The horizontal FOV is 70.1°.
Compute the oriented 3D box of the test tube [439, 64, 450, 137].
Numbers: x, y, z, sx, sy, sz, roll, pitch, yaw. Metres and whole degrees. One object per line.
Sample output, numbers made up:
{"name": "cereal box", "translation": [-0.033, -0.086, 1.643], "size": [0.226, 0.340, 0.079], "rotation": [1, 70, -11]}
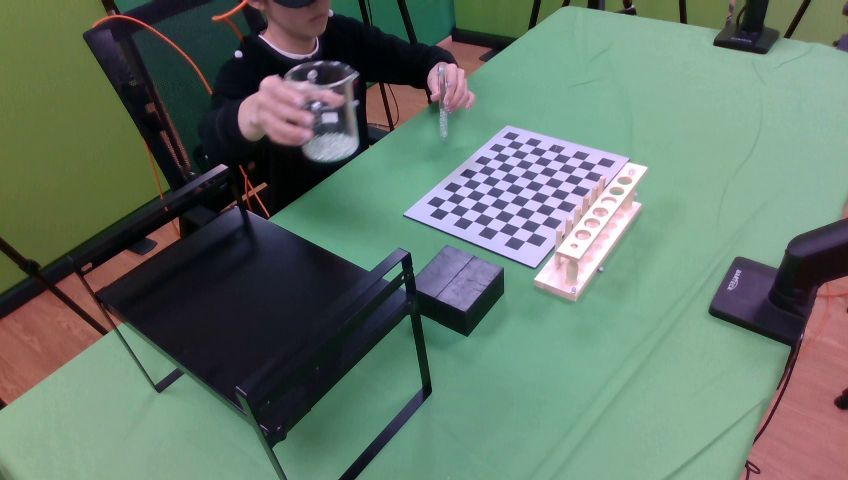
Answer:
{"name": "test tube", "translation": [0.038, -0.253, 1.111], "size": [0.017, 0.151, 0.017], "rotation": [-2, 45, 2]}

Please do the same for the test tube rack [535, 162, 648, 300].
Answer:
{"name": "test tube rack", "translation": [0.257, -0.024, 0.916], "size": [0.066, 0.085, 0.243], "rotation": [22, 49, 30]}

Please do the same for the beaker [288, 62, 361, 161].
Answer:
{"name": "beaker", "translation": [-0.114, -0.154, 0.731], "size": [0.084, 0.100, 0.073], "rotation": [-11, 40, -12]}
